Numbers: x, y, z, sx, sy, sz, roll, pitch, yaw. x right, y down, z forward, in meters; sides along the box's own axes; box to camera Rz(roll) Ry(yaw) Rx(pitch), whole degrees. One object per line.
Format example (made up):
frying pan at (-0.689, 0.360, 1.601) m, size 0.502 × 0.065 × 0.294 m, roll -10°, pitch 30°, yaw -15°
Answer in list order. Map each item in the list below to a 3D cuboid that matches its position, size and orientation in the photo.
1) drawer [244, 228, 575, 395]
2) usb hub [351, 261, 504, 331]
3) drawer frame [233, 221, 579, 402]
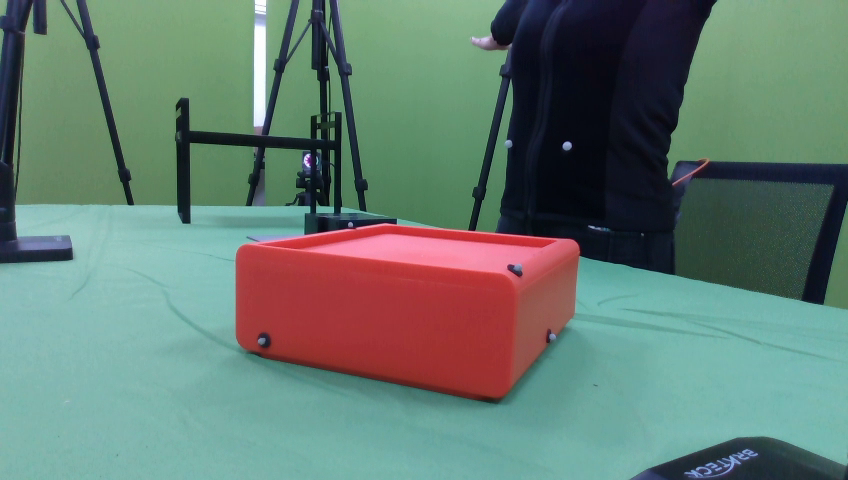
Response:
drawer at (0.003, 0.042, 0.477) m, size 0.194 × 0.073 × 0.212 m, roll 6°, pitch 10°, yaw 22°
usb hub at (0.002, 0.046, 0.510) m, size 0.124 × 0.025 × 0.050 m, roll 16°, pitch 0°, yaw 29°
drawer frame at (0.001, 0.038, 0.475) m, size 0.201 × 0.082 × 0.214 m, roll 6°, pitch 9°, yaw 22°
